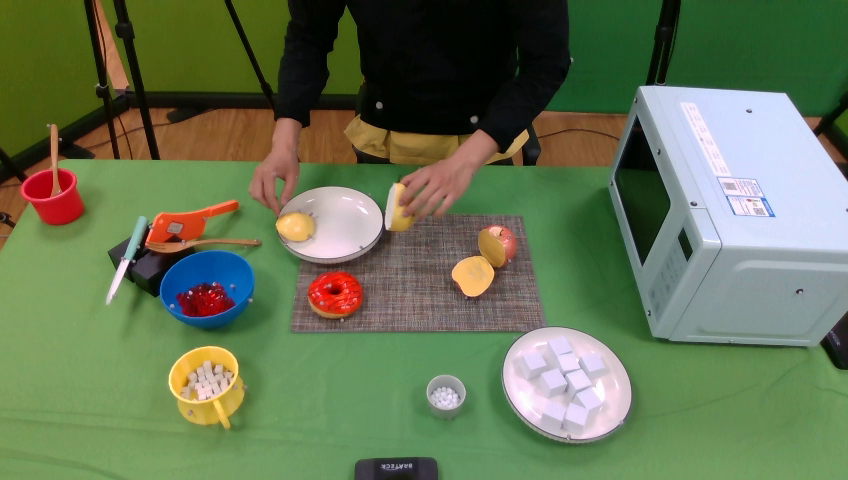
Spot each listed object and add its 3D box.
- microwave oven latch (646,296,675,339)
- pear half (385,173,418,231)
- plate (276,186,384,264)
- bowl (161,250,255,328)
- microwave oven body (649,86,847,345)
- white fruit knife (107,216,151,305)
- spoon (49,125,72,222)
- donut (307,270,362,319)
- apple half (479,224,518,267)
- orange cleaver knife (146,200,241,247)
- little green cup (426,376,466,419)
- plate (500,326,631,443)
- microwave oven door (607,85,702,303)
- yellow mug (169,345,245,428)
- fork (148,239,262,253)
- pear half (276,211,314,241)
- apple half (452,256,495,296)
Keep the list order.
[{"bbox_3d":[0.412,0.134,1.061,0.030,0.029,0.078,4,45,1],"label":"microwave oven latch"},{"bbox_3d":[-0.038,-0.071,1.093,0.056,0.110,0.076,-3,36,-17],"label":"pear half"},{"bbox_3d":[-0.184,-0.027,1.195,0.209,0.038,0.208,2,46,-2],"label":"plate"},{"bbox_3d":[-0.362,0.097,1.040,0.151,0.077,0.150,2,45,-2],"label":"bowl"},{"bbox_3d":[0.567,-0.053,1.118,0.326,0.261,0.439,2,45,-1],"label":"microwave oven body"},{"bbox_3d":[-0.518,0.032,1.066,0.027,0.016,0.206,-18,45,19],"label":"white fruit knife"},{"bbox_3d":[-0.717,-0.131,1.189,0.041,0.021,0.193,-3,90,-7],"label":"spoon"},{"bbox_3d":[-0.157,0.097,1.073,0.099,0.048,0.098,4,46,-4],"label":"donut"},{"bbox_3d":[0.148,0.008,1.160,0.053,0.075,0.080,-24,48,-29],"label":"apple half"},{"bbox_3d":[-0.435,-0.033,1.157,0.012,0.077,0.211,31,26,19],"label":"orange cleaver knife"},{"bbox_3d":[0.033,0.248,0.950,0.061,0.039,0.061,2,46,-2],"label":"little green cup"},{"bbox_3d":[0.224,0.234,0.978,0.208,0.039,0.206,2,46,-2],"label":"plate"},{"bbox_3d":[0.423,-0.094,1.140,0.039,0.245,0.353,2,46,-1],"label":"microwave oven door"},{"bbox_3d":[-0.322,0.230,0.922,0.100,0.064,0.130,-24,53,-25],"label":"yellow mug"},{"bbox_3d":[-0.398,0.008,1.117,0.208,0.019,0.028,-5,35,-37],"label":"fork"},{"bbox_3d":[-0.244,-0.036,1.179,0.070,0.031,0.088,44,43,2],"label":"pear half"},{"bbox_3d":[0.095,0.069,1.120,0.081,0.033,0.081,-7,63,13],"label":"apple half"}]
